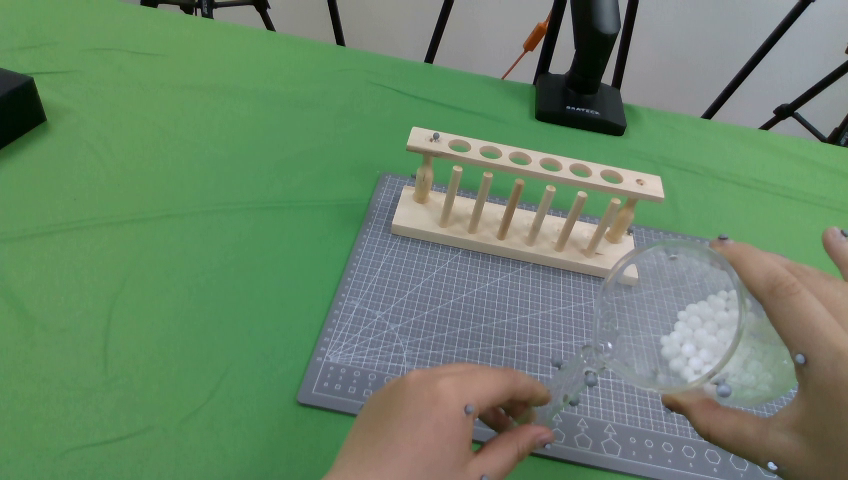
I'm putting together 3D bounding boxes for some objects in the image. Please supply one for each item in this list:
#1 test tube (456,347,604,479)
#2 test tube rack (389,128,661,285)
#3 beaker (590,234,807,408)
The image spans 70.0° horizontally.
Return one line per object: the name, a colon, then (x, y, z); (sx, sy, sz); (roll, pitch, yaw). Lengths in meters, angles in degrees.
test tube: (0.056, 0.110, 0.355); (0.017, 0.151, 0.017); (18, 40, -16)
test tube rack: (0.094, -0.032, 0.586); (0.242, 0.086, 0.066); (12, 42, 1)
beaker: (0.146, 0.050, 0.318); (0.101, 0.084, 0.073); (20, 41, -39)
